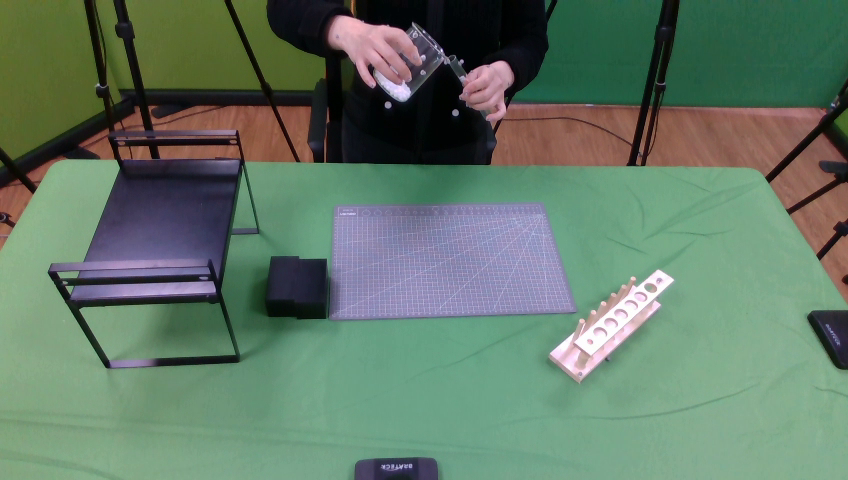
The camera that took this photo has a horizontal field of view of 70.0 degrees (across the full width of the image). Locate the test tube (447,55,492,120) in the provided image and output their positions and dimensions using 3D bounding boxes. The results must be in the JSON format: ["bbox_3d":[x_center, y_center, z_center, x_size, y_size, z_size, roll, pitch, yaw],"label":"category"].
[{"bbox_3d":[0.078,-0.249,1.003,0.017,0.151,0.017,-17,53,24],"label":"test tube"}]

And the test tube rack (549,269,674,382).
[{"bbox_3d":[0.325,0.134,1.047,0.242,0.085,0.066,-32,55,-29],"label":"test tube rack"}]

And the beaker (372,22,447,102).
[{"bbox_3d":[-0.023,-0.269,0.932,0.084,0.100,0.073,28,26,-42],"label":"beaker"}]
